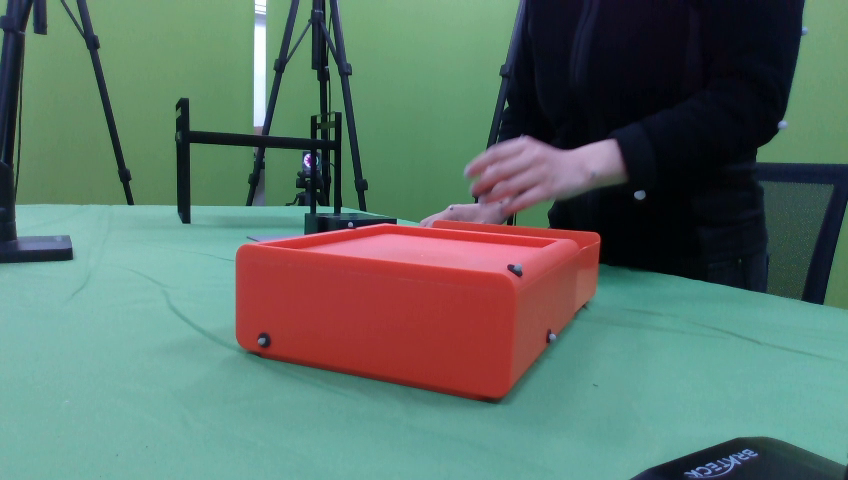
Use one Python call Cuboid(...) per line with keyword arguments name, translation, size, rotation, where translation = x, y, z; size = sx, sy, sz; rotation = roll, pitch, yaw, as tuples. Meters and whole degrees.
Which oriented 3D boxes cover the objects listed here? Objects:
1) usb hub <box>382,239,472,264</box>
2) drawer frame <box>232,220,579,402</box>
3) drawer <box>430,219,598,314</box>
Cuboid(name="usb hub", translation=(0.005, 0.015, 0.853), size=(0.126, 0.025, 0.049), rotation=(-3, 8, -36))
Cuboid(name="drawer frame", translation=(0.001, 0.038, 0.474), size=(0.201, 0.082, 0.214), rotation=(6, 9, 22))
Cuboid(name="drawer", translation=(0.050, 0.029, 0.582), size=(0.194, 0.073, 0.212), rotation=(7, 9, 25))
